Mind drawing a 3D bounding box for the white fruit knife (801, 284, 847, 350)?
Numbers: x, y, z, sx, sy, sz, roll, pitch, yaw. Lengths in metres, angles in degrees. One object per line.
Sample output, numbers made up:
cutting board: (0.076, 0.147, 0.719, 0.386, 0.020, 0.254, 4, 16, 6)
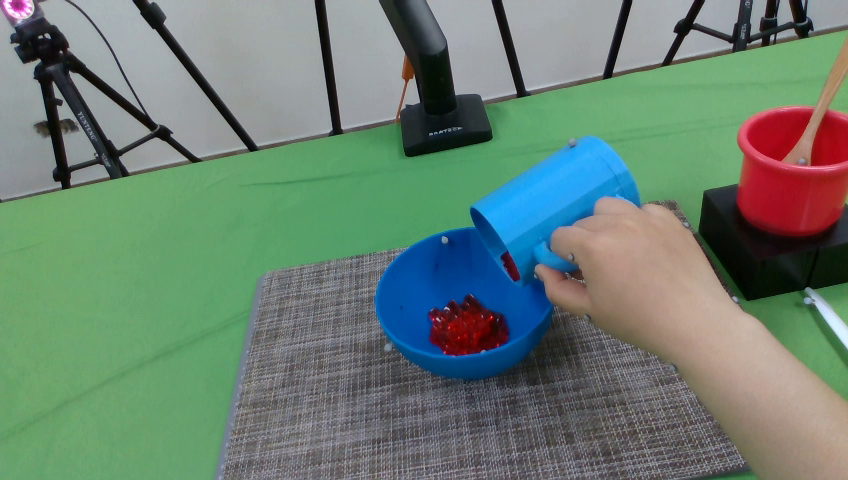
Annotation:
white fruit knife: (0.336, 0.103, 0.445, 0.027, 0.016, 0.205, 11, 36, -13)

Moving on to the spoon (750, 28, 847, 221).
spoon: (0.329, -0.105, 0.507, 0.041, 0.022, 0.194, 27, 99, 40)

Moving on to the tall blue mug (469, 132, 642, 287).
tall blue mug: (0.103, -0.024, 0.460, 0.108, 0.078, 0.107, -33, 4, -6)

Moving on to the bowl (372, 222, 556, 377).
bowl: (0.038, 0.063, 0.516, 0.151, 0.077, 0.150, -8, 41, 7)
